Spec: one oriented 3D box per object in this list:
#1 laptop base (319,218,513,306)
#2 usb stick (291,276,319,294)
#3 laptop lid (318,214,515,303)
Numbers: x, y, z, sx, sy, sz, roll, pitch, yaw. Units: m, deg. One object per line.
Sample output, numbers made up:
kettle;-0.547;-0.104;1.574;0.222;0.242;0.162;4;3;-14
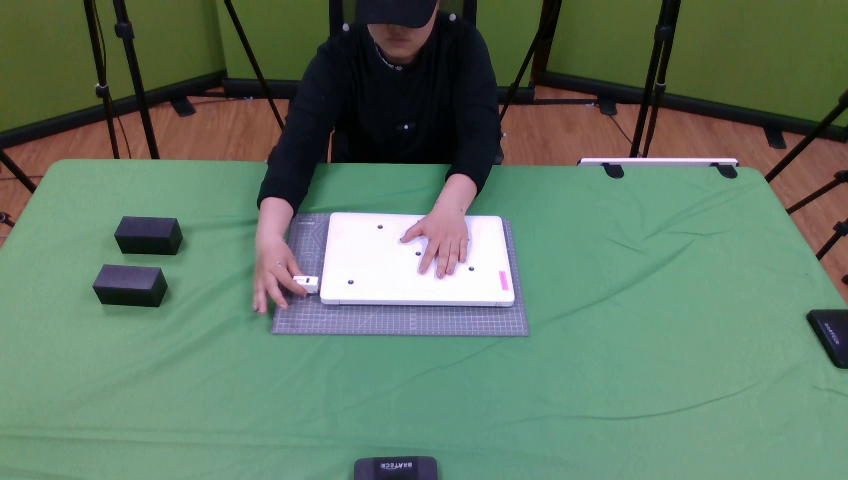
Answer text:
laptop base;-0.015;0.038;1.162;0.354;0.023;0.234;1;42;-3
usb stick;-0.208;0.081;1.087;0.059;0.027;0.021;5;50;-2
laptop lid;-0.014;0.029;1.157;0.357;0.013;0.240;2;43;-2
